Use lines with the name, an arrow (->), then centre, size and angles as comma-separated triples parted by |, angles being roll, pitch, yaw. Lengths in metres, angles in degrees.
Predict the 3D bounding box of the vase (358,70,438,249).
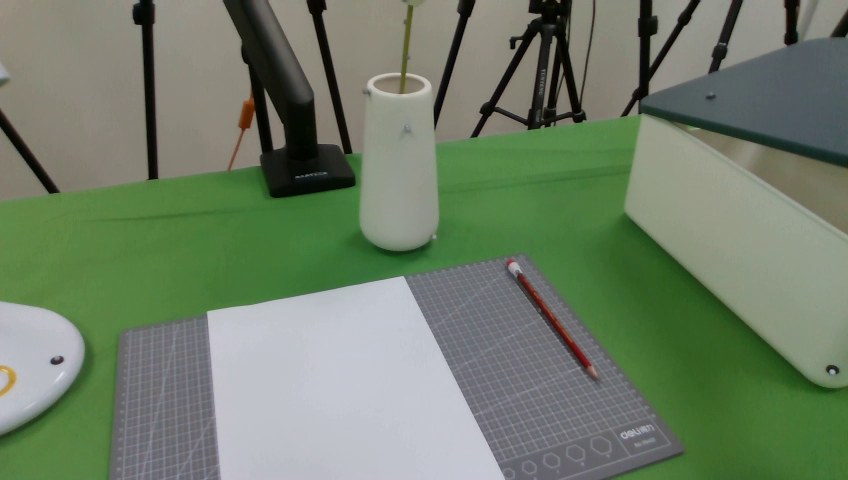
vase -> -0.031, -0.089, 0.703 | 0.098, 0.201, 0.097 | 1, 35, 0

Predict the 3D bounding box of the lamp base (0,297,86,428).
lamp base -> -0.400, 0.046, 0.504 | 0.177, 0.182, 0.160 | 24, 41, 31

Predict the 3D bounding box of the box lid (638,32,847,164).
box lid -> 0.411, -0.150, 0.588 | 0.263, 0.015, 0.368 | -21, 23, -5

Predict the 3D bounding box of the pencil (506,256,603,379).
pencil -> 0.133, 0.076, 0.638 | 0.012, 0.012, 0.192 | -11, 38, -18

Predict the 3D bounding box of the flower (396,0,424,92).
flower -> -0.028, -0.143, 0.637 | 0.044, 0.364, 0.038 | 26, 53, 9

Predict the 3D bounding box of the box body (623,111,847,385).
box body -> 0.428, -0.031, 0.679 | 0.255, 0.162, 0.360 | -10, 37, -16

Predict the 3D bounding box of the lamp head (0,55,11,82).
lamp head -> -0.312, -0.118, 0.320 | 0.112, 0.124, 0.111 | -25, 20, 10
